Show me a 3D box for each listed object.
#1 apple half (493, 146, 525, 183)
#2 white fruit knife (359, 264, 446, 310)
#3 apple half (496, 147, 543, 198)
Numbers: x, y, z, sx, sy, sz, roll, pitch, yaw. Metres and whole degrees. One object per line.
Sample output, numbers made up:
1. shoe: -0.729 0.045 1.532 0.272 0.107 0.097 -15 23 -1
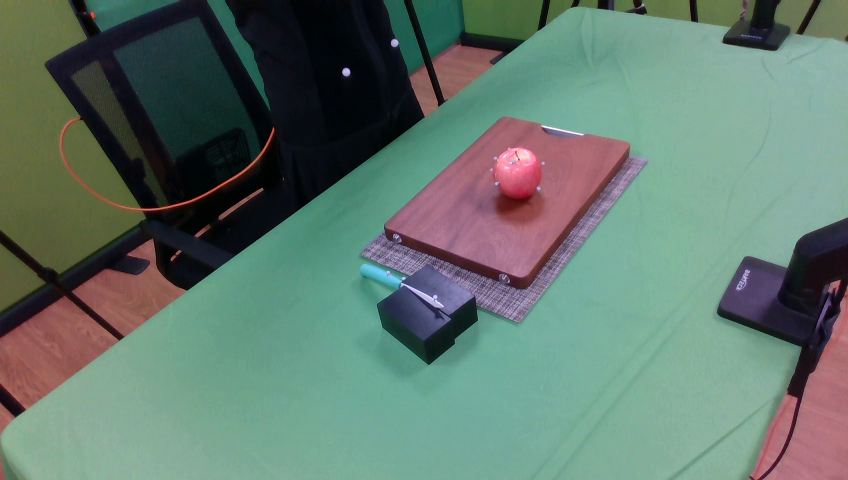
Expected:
1. apple half: 0.139 -0.122 1.015 0.081 0.081 0.032 -34 50 -25
2. white fruit knife: -0.034 0.066 0.870 0.016 0.027 0.205 -37 33 -26
3. apple half: 0.164 -0.104 0.991 0.081 0.075 0.053 -31 48 -28
